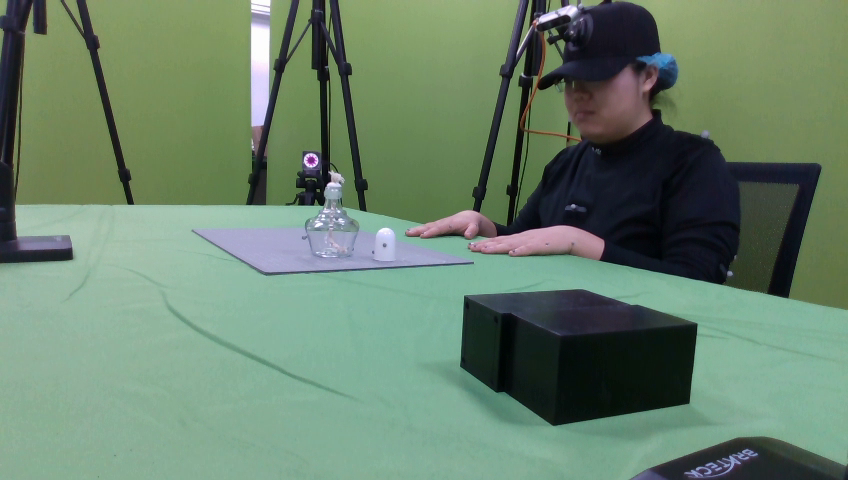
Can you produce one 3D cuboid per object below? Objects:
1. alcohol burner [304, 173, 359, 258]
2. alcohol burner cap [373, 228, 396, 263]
[{"bbox_3d":[-0.129,-0.035,0.852,0.078,0.119,0.078,2,5,0],"label":"alcohol burner"},{"bbox_3d":[-0.054,0.007,0.836,0.034,0.048,0.034,3,7,0],"label":"alcohol burner cap"}]
